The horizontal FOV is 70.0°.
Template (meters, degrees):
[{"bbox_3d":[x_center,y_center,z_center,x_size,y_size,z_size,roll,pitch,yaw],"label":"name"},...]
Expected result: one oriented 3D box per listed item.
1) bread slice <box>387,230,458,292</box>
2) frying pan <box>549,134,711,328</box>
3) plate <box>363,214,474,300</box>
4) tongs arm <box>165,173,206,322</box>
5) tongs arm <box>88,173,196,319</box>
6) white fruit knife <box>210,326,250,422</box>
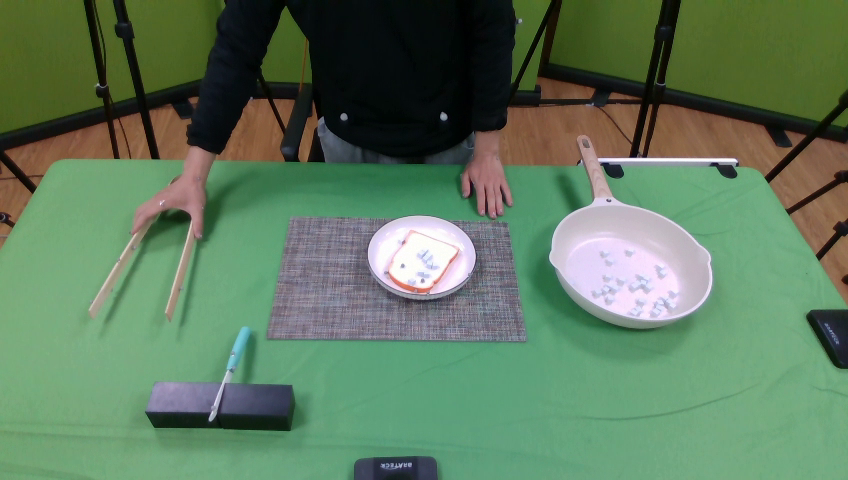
[{"bbox_3d":[-0.007,0.043,1.142,0.107,0.018,0.134,18,46,14],"label":"bread slice"},{"bbox_3d":[0.372,-0.035,1.203,0.307,0.103,0.484,-1,55,-6],"label":"frying pan"},{"bbox_3d":[-0.010,0.036,1.146,0.208,0.039,0.206,2,46,-2],"label":"plate"},{"bbox_3d":[-0.449,-0.001,1.143,0.028,0.028,0.385,-6,44,-3],"label":"tongs arm"},{"bbox_3d":[-0.518,-0.004,1.140,0.051,0.026,0.382,3,43,2],"label":"tongs arm"},{"bbox_3d":[-0.300,0.201,0.942,0.016,0.027,0.206,1,32,-1],"label":"white fruit knife"}]
